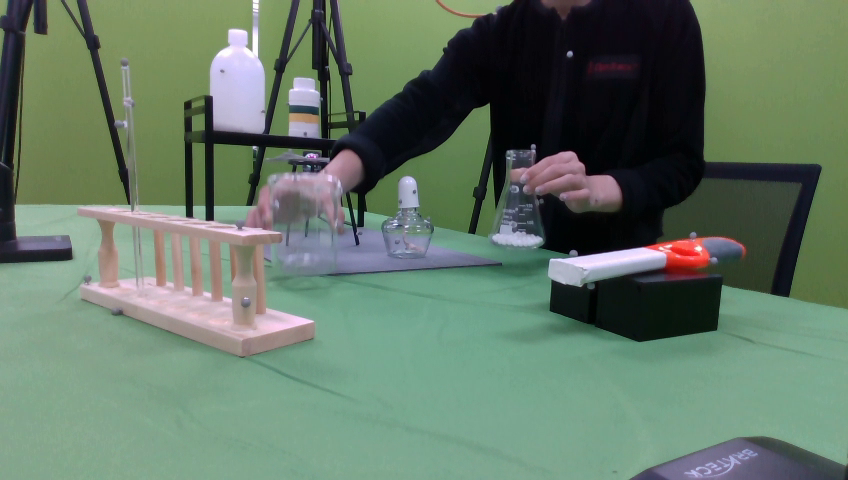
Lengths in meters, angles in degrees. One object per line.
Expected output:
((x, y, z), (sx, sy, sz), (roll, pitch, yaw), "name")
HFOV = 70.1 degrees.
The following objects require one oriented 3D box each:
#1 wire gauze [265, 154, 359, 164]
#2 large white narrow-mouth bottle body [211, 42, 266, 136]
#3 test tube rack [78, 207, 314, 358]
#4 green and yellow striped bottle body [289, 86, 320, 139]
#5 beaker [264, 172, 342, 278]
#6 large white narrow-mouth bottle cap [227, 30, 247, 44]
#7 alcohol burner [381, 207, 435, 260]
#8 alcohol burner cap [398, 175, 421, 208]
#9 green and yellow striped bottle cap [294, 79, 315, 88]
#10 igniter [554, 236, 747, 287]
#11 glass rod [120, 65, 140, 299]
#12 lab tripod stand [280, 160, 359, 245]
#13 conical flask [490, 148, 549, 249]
((-0.181, -0.129, 0.969), (0.126, 0.011, 0.121), (-1, 7, -27), "wire gauze")
((-0.360, -0.303, 1.175), (0.102, 0.194, 0.102), (1, 7, 0), "large white narrow-mouth bottle body")
((-0.196, 0.024, 0.499), (0.241, 0.085, 0.067), (8, 8, 37), "test tube rack")
((-0.250, -0.272, 1.261), (0.063, 0.119, 0.063), (3, 7, 0), "green and yellow striped bottle body")
((-0.124, -0.016, 0.636), (0.084, 0.100, 0.074), (9, 17, 20), "beaker")
((-0.360, -0.389, 1.165), (0.038, 0.024, 0.037), (1, 7, 0), "large white narrow-mouth bottle cap")
((-0.023, -0.032, 0.871), (0.078, 0.119, 0.078), (0, 6, 0), "alcohol burner")
((-0.023, -0.068, 0.866), (0.034, 0.048, 0.034), (-5, 9, 1), "alcohol burner cap")
((-0.248, -0.323, 1.256), (0.045, 0.020, 0.045), (4, 9, 0), "green and yellow striped bottle cap")
((0.221, 0.017, 0.558), (0.278, 0.025, 0.057), (-5, 15, -39), "igniter")
((-0.249, -0.047, 0.513), (0.008, 0.199, 0.008), (-1, 4, 0), "glass rod")
((-0.176, -0.062, 0.973), (0.148, 0.131, 0.148), (1, 7, 0), "lab tripod stand")
((0.122, -0.053, 0.762), (0.075, 0.122, 0.075), (0, 14, 0), "conical flask")
